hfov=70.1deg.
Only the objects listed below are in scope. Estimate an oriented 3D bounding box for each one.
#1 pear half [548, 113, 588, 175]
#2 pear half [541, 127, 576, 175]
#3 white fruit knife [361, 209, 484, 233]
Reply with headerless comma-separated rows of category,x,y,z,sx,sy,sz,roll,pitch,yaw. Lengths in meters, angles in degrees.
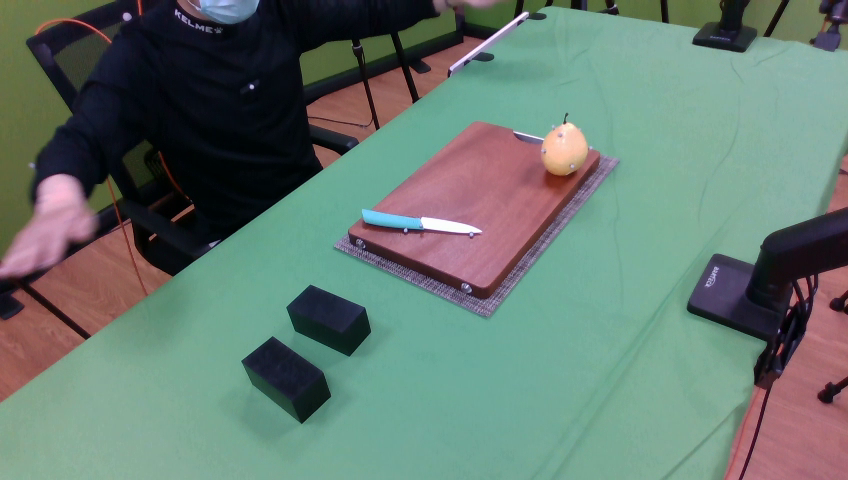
pear half,0.245,-0.170,1.020,0.056,0.110,0.075,-36,52,-29
pear half,0.219,-0.145,1.010,0.070,0.088,0.031,35,55,29
white fruit knife,-0.006,-0.027,0.960,0.207,0.016,0.027,7,56,14
